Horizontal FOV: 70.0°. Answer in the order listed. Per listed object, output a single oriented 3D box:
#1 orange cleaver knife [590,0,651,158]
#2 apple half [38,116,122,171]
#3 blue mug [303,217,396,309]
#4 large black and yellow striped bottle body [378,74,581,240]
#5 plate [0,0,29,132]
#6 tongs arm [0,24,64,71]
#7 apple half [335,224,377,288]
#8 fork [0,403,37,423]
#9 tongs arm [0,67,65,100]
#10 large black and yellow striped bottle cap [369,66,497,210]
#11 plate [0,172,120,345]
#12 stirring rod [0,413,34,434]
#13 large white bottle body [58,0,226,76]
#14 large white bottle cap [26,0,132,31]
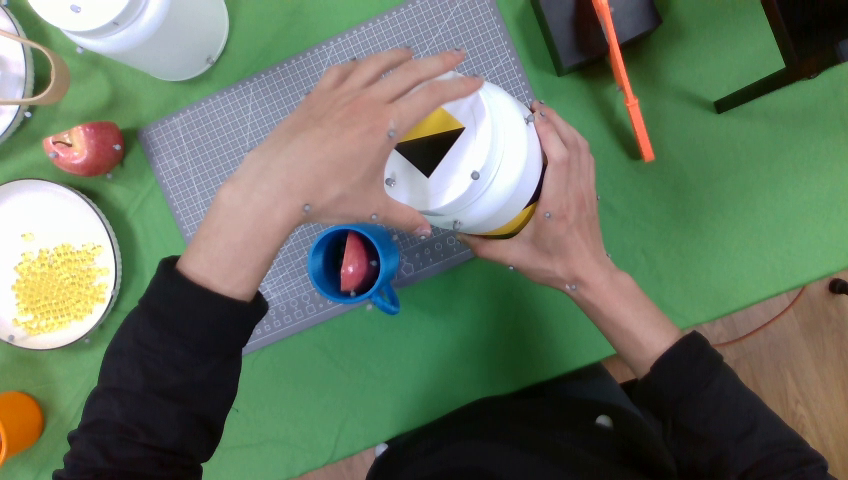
[{"bbox_3d":[0.204,-0.187,0.645,0.012,0.076,0.213,-21,119,15],"label":"orange cleaver knife"},{"bbox_3d":[-0.391,-0.107,0.703,0.081,0.074,0.053,-19,96,2],"label":"apple half"},{"bbox_3d":[-0.069,0.029,0.670,0.082,0.106,0.116,-38,91,6],"label":"blue mug"},{"bbox_3d":[0.052,-0.072,0.553,0.130,0.185,0.130,-5,81,34],"label":"large black and yellow striped bottle body"},{"bbox_3d":[-0.568,-0.211,0.726,0.207,0.039,0.208,0,95,4],"label":"plate"},{"bbox_3d":[-0.587,-0.269,0.693,0.387,0.028,0.028,20,89,5],"label":"tongs arm"},{"bbox_3d":[-0.068,0.019,0.664,0.032,0.081,0.081,11,95,11],"label":"apple half"},{"bbox_3d":[-0.574,0.227,0.705,0.208,0.018,0.028,-8,93,-38],"label":"fork"},{"bbox_3d":[-0.603,-0.187,0.699,0.384,0.026,0.051,6,92,6],"label":"tongs arm"},{"bbox_3d":[0.004,-0.081,0.485,0.114,0.019,0.114,-6,80,34],"label":"large black and yellow striped bottle cap"},{"bbox_3d":[-0.467,0.022,0.737,0.209,0.038,0.209,0,95,5],"label":"plate"},{"bbox_3d":[-0.558,0.242,0.708,0.177,0.006,0.014,-17,81,-34],"label":"stirring rod"},{"bbox_3d":[-0.303,-0.254,0.629,0.130,0.184,0.130,0,93,5],"label":"large white bottle body"},{"bbox_3d":[-0.312,-0.249,0.544,0.115,0.018,0.115,0,94,5],"label":"large white bottle cap"}]
